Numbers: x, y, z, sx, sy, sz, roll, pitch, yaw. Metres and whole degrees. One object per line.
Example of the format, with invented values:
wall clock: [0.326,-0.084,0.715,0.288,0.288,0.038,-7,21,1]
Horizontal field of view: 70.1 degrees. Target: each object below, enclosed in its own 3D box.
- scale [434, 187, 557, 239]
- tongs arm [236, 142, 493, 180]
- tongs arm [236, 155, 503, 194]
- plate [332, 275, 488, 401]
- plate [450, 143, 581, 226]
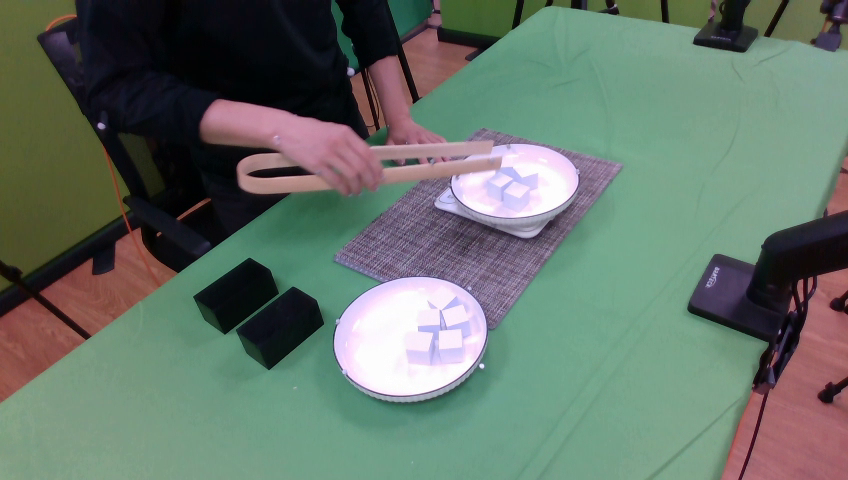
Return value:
scale: [0.132,-0.074,1.025,0.199,0.032,0.149,22,48,30]
tongs arm: [-0.076,-0.120,0.890,0.390,0.028,0.028,-7,49,-18]
tongs arm: [-0.068,-0.103,0.872,0.387,0.026,0.050,-10,46,-20]
plate: [-0.017,0.131,0.808,0.207,0.039,0.206,-4,41,4]
plate: [0.148,-0.087,0.986,0.209,0.038,0.208,-4,41,4]
